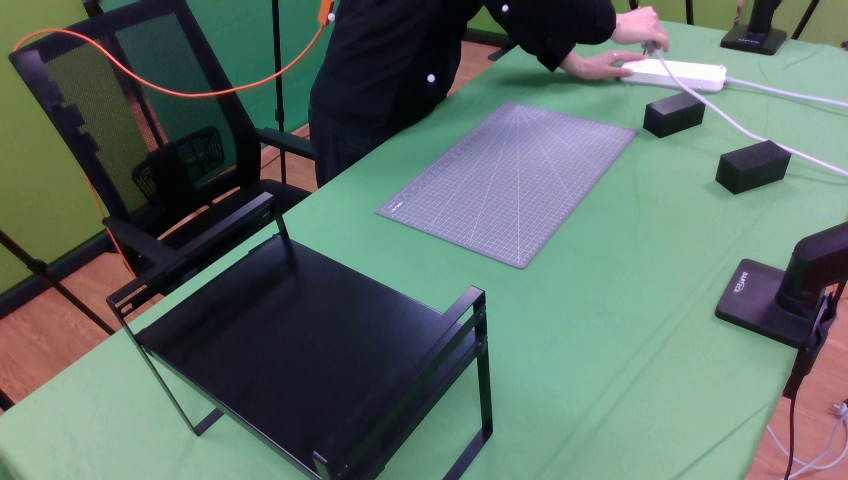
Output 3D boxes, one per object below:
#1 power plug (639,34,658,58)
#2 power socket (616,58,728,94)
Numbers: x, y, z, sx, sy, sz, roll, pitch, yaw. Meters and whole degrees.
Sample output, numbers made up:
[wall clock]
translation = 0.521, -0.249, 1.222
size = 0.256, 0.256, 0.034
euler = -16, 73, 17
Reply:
[power plug]
translation = 0.441, -0.379, 1.204
size = 0.035, 0.053, 0.073
euler = 26, 53, 24
[power socket]
translation = 0.532, -0.355, 1.303
size = 0.225, 0.033, 0.072
euler = 15, 46, 24
